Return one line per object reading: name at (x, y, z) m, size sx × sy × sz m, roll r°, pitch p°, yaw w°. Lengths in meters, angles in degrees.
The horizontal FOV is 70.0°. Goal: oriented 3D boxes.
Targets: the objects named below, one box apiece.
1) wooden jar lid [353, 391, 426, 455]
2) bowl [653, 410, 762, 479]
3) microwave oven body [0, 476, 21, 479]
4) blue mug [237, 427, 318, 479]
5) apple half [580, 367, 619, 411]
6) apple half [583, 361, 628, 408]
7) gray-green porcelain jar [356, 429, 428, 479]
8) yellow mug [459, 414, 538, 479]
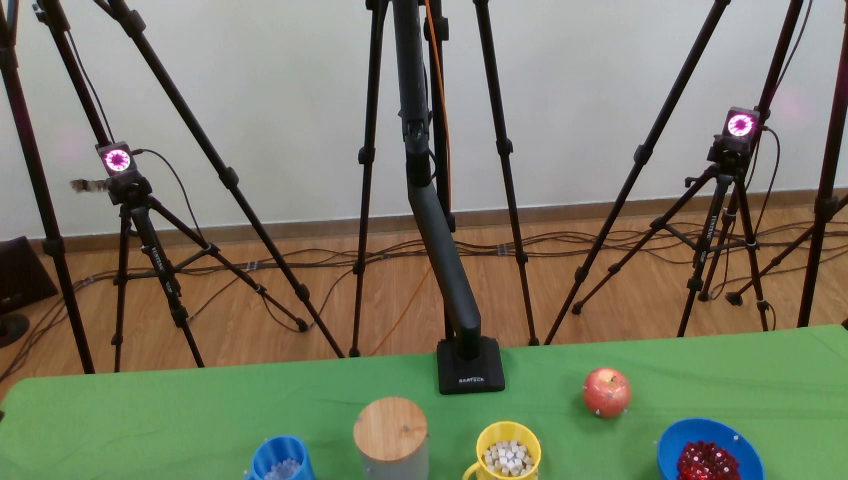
wooden jar lid at (-0.051, 0.273, 0.898) m, size 0.108 × 0.021 × 0.107 m, roll -2°, pitch 38°, yaw 2°
bowl at (0.419, 0.343, 0.918) m, size 0.151 × 0.077 × 0.150 m, roll -2°, pitch 41°, yaw 2°
microwave oven body at (-0.628, 0.517, 0.635) m, size 0.326 × 0.262 × 0.437 m, roll -3°, pitch 41°, yaw 0°
blue mug at (-0.226, 0.357, 0.923) m, size 0.117 × 0.107 × 0.081 m, roll -21°, pitch 43°, yaw -19°
apple half at (0.288, 0.261, 1.026) m, size 0.033 × 0.082 × 0.080 m, roll -23°, pitch 44°, yaw -28°
apple half at (0.319, 0.246, 1.044) m, size 0.053 × 0.075 × 0.080 m, roll -22°, pitch 40°, yaw -28°
gray-green porcelain jar at (-0.048, 0.321, 0.939) m, size 0.106 × 0.127 × 0.105 m, roll -2°, pitch 40°, yaw 2°
yellow mug at (0.114, 0.341, 0.951) m, size 0.131 × 0.064 × 0.099 m, roll -20°, pitch 43°, yaw -17°
